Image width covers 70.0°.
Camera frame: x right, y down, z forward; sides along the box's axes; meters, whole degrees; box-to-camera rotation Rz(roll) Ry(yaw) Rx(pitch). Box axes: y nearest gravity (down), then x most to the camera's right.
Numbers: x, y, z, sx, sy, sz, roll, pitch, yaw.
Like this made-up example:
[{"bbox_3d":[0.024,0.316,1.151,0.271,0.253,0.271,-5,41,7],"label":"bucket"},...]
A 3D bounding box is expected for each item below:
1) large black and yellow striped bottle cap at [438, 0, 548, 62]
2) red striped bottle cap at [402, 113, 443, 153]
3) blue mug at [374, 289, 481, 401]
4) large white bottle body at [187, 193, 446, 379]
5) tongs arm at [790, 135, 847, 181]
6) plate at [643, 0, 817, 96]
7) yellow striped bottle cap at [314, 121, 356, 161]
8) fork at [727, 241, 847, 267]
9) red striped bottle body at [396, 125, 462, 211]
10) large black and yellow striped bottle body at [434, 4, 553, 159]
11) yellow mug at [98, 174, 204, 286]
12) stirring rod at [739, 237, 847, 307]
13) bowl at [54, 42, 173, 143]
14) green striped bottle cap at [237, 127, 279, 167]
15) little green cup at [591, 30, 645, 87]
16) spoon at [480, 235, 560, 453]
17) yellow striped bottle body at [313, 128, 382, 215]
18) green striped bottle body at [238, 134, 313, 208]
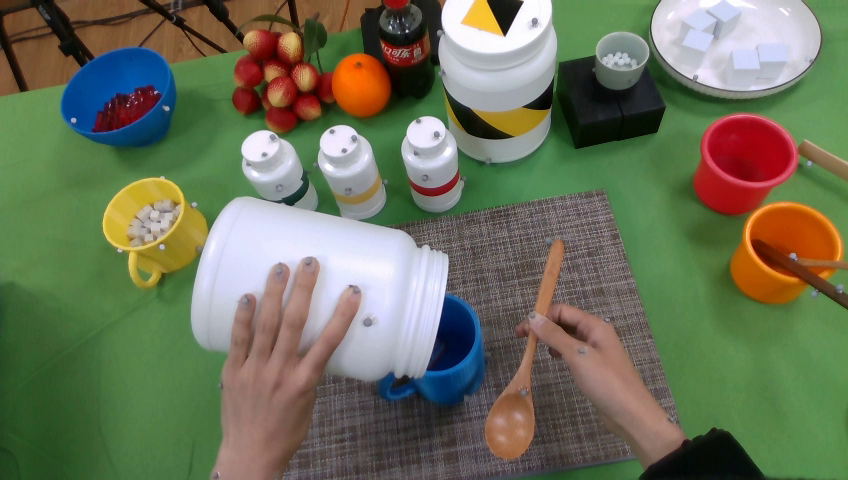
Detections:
[{"bbox_3d":[0.072,-0.235,0.632,0.115,0.019,0.114,-4,64,8],"label":"large black and yellow striped bottle cap"},{"bbox_3d":[-0.002,-0.116,0.654,0.044,0.018,0.044,-1,61,3],"label":"red striped bottle cap"},{"bbox_3d":[0.001,0.116,0.597,0.116,0.107,0.081,-36,63,-11],"label":"blue mug"},{"bbox_3d":[-0.083,0.042,0.505,0.185,0.131,0.129,13,64,-5],"label":"large white bottle body"},{"bbox_3d":[0.580,-0.016,0.637,0.381,0.027,0.050,40,70,23],"label":"tongs arm"},{"bbox_3d":[0.391,-0.265,0.788,0.209,0.038,0.207,-3,63,6],"label":"plate"},{"bbox_3d":[-0.097,-0.108,0.661,0.044,0.019,0.044,-1,59,2],"label":"yellow striped bottle cap"},{"bbox_3d":[0.386,0.022,0.577,0.028,0.019,0.206,-46,22,-15],"label":"fork"},{"bbox_3d":[0.006,-0.091,0.700,0.063,0.121,0.062,-6,59,10],"label":"red striped bottle body"},{"bbox_3d":[0.081,-0.197,0.708,0.130,0.185,0.129,-3,62,6],"label":"large black and yellow striped bottle body"},{"bbox_3d":[-0.330,-0.008,0.729,0.100,0.064,0.130,-1,63,7],"label":"yellow mug"},{"bbox_3d":[0.356,0.026,0.586,0.014,0.006,0.175,-7,19,1],"label":"stirring rod"},{"bbox_3d":[-0.403,-0.185,0.822,0.151,0.077,0.150,-3,63,5],"label":"bowl"},{"bbox_3d":[-0.184,-0.103,0.670,0.044,0.020,0.044,-2,61,5],"label":"green striped bottle cap"},{"bbox_3d":[0.229,-0.216,0.725,0.061,0.039,0.061,-2,60,4],"label":"little green cup"},{"bbox_3d":[0.091,0.087,0.524,0.041,0.022,0.193,15,85,16],"label":"spoon"},{"bbox_3d":[-0.090,-0.084,0.708,0.063,0.121,0.062,-3,62,6],"label":"yellow striped bottle body"},{"bbox_3d":[-0.176,-0.079,0.716,0.063,0.120,0.062,-3,62,5],"label":"green striped bottle body"}]
